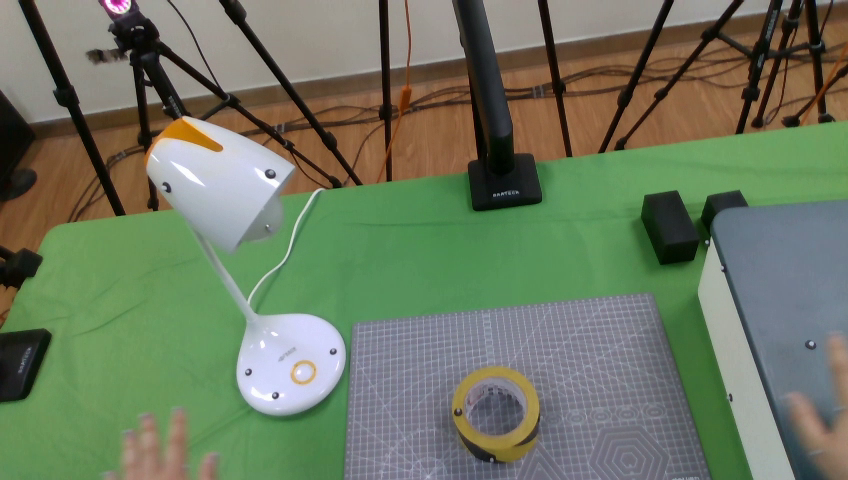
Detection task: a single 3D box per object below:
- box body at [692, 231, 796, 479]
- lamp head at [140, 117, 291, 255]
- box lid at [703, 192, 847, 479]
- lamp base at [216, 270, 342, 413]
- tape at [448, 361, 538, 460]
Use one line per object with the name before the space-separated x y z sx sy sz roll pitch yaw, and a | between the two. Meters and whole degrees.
box body | 0.490 0.135 0.711 0.254 0.162 0.360 -5 51 6
lamp head | -0.212 -0.060 0.598 0.123 0.112 0.112 32 58 -8
box lid | 0.481 0.087 0.655 0.263 0.015 0.367 -5 51 6
lamp base | -0.220 0.125 0.834 0.177 0.182 0.160 26 60 30
tape | 0.089 0.219 0.784 0.117 0.053 0.115 -4 51 6
